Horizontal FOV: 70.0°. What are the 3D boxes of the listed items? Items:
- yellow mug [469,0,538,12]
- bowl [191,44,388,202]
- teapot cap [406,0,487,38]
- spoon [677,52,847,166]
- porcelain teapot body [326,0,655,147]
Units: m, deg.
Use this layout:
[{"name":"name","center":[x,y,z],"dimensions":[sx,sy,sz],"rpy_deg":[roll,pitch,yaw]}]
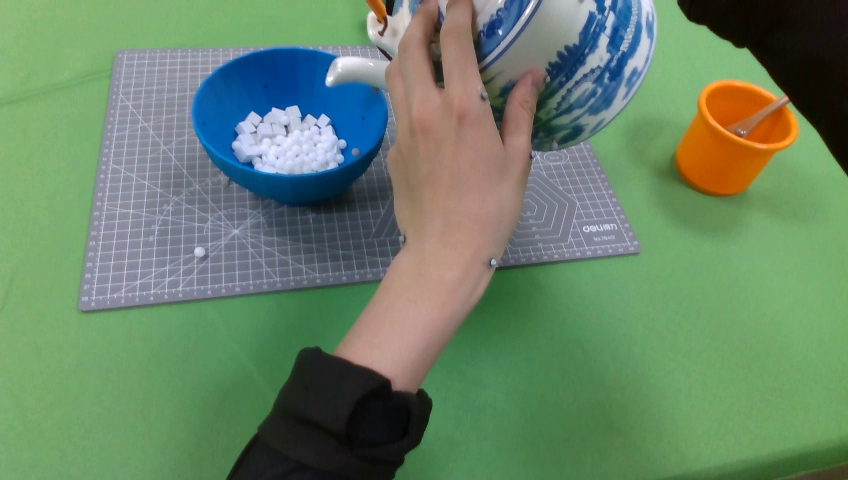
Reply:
[{"name":"yellow mug","center":[0.079,-0.287,0.627],"dimensions":[0.099,0.064,0.130],"rpy_deg":[23,56,9]},{"name":"bowl","center":[-0.107,-0.085,0.503],"dimensions":[0.151,0.077,0.150],"rpy_deg":[4,53,-5]},{"name":"teapot cap","center":[0.016,-0.170,0.381],"dimensions":[0.044,0.085,0.084],"rpy_deg":[13,44,-43]},{"name":"spoon","center":[0.327,-0.127,0.557],"dimensions":[0.022,0.194,0.041],"rpy_deg":[28,37,-46]},{"name":"porcelain teapot body","center":[0.025,-0.149,0.424],"dimensions":[0.227,0.205,0.144],"rpy_deg":[17,54,-42]}]
